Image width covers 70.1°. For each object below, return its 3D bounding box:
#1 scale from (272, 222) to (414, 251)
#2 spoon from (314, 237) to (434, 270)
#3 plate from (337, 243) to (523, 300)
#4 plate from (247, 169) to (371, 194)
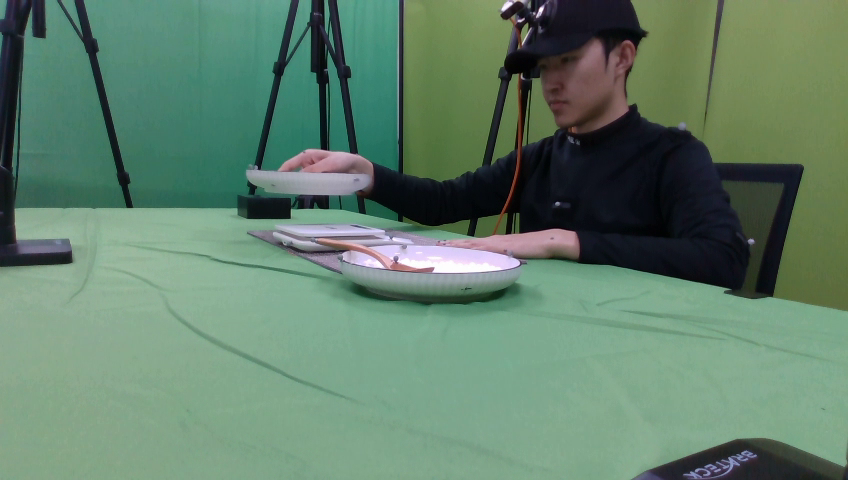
[{"bbox_3d":[-0.131,-0.008,0.984,0.202,0.031,0.148,-2,8,-32],"label":"scale"},{"bbox_3d":[-0.064,0.015,0.695,0.192,0.021,0.042,18,17,42],"label":"spoon"},{"bbox_3d":[0.007,0.035,0.688,0.209,0.038,0.209,2,6,0],"label":"plate"},{"bbox_3d":[-0.196,-0.100,1.038,0.208,0.039,0.207,2,6,0],"label":"plate"}]
